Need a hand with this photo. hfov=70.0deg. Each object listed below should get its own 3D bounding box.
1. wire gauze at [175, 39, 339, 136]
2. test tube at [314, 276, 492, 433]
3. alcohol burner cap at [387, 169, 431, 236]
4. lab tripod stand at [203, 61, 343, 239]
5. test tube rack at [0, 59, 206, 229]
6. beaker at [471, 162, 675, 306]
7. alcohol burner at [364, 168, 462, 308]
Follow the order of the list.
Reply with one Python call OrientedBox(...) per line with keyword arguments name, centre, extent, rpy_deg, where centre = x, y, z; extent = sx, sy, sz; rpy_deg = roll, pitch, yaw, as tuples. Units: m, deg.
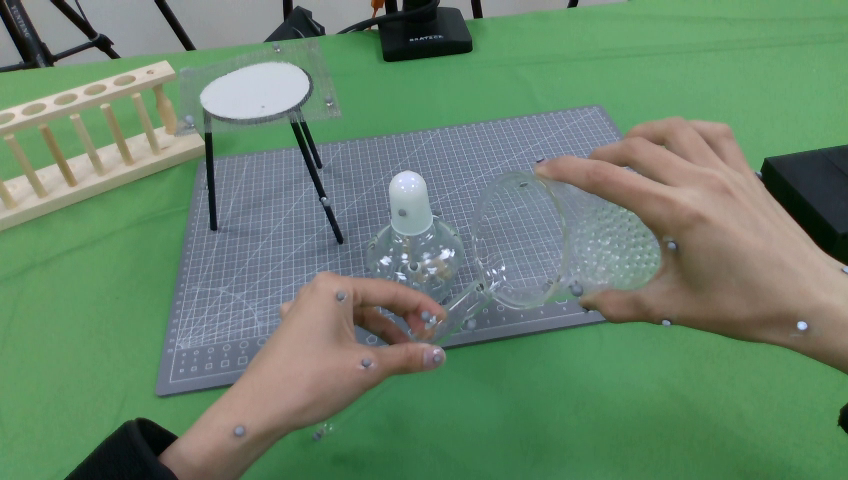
OrientedBox(name="wire gauze", centre=(-0.139, -0.125, 0.490), extent=(0.125, 0.011, 0.120), rpy_deg=(-13, 45, -8))
OrientedBox(name="test tube", centre=(-0.017, 0.074, 0.372), extent=(0.150, 0.017, 0.017), rpy_deg=(-43, 42, 18))
OrientedBox(name="alcohol burner cap", centre=(-0.013, -0.030, 0.443), extent=(0.034, 0.048, 0.033), rpy_deg=(-3, 46, 4))
OrientedBox(name="lab tripod stand", centre=(-0.134, -0.077, 0.537), extent=(0.148, 0.133, 0.147), rpy_deg=(-2, 46, 3))
OrientedBox(name="test tube rack", centre=(-0.358, -0.096, 0.614), extent=(0.242, 0.086, 0.066), rpy_deg=(-26, 48, -21))
OrientedBox(name="beaker", centre=(0.087, -0.002, 0.349), extent=(0.101, 0.084, 0.073), rpy_deg=(-4, 50, -34))
OrientedBox(name="alcohol burner", centre=(-0.009, -0.004, 0.467), extent=(0.078, 0.120, 0.077), rpy_deg=(-2, 42, 2))
